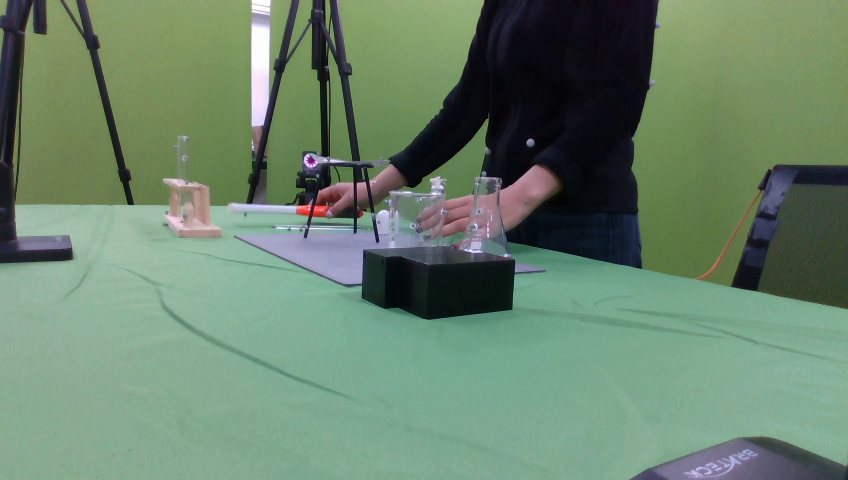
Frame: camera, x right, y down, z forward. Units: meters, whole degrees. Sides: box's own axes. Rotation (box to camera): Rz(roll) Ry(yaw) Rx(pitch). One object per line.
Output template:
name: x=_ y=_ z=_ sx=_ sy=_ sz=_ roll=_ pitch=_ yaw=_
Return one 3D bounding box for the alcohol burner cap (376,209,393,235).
alcohol burner cap: x=-0.076 y=-0.035 z=1.145 sx=0.034 sy=0.048 sz=0.034 roll=2 pitch=7 yaw=0

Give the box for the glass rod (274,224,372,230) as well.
glass rod: x=-0.193 y=-0.024 z=1.176 sx=0.201 sy=0.008 sz=0.008 roll=1 pitch=7 yaw=-31

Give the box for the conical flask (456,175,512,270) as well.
conical flask: x=0.082 y=-0.025 z=0.801 sx=0.075 sy=0.122 sz=0.075 roll=2 pitch=7 yaw=0

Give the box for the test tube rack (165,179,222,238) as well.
test tube rack: x=-0.423 y=-0.062 z=1.098 sx=0.067 sy=0.085 sz=0.241 roll=-2 pitch=9 yaw=-28

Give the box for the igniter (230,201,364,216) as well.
igniter: x=-0.254 y=-0.065 z=1.243 sx=0.278 sy=0.025 sz=0.057 roll=1 pitch=4 yaw=-31

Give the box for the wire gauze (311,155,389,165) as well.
wire gauze: x=-0.128 y=-0.137 z=1.042 sx=0.122 sy=0.011 sz=0.124 roll=1 pitch=8 yaw=-18

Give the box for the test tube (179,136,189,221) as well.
test tube: x=-0.425 y=-0.108 z=1.070 sx=0.017 sy=0.150 sz=0.017 roll=4 pitch=9 yaw=0

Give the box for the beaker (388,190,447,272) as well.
beaker: x=-0.010 y=-0.013 z=0.771 sx=0.074 sy=0.100 sz=0.084 roll=3 pitch=7 yaw=4

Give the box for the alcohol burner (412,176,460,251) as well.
alcohol burner: x=0.020 y=-0.043 z=0.958 sx=0.078 sy=0.119 sz=0.078 roll=4 pitch=9 yaw=0

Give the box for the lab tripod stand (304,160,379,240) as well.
lab tripod stand: x=-0.131 y=-0.071 z=1.046 sx=0.148 sy=0.131 sz=0.148 roll=4 pitch=7 yaw=0
